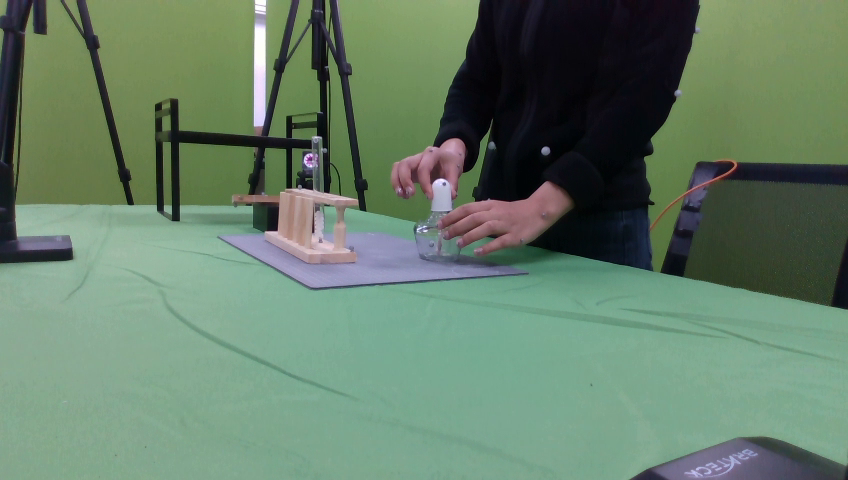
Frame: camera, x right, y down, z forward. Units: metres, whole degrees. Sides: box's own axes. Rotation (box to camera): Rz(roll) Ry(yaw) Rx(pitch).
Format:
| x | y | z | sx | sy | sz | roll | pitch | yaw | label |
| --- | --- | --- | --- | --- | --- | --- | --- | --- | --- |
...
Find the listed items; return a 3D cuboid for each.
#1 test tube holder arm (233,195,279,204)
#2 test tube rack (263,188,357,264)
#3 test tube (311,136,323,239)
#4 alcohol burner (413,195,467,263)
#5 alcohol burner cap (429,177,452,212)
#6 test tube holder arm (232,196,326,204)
| x | y | z | sx | sy | sz | roll | pitch | yaw | label |
| --- | --- | --- | --- | --- | --- | --- | --- | --- | --- |
| -0.307 | -0.075 | 1.117 | 0.088 | 0.015 | 0.010 | -1 | 1 | -31 | test tube holder arm |
| -0.175 | -0.027 | 0.890 | 0.067 | 0.085 | 0.241 | 0 | 8 | -28 | test tube rack |
| -0.155 | -0.076 | 0.878 | 0.017 | 0.150 | 0.017 | 0 | 7 | 0 | test tube |
| 0.023 | -0.028 | 0.864 | 0.078 | 0.119 | 0.078 | 2 | 7 | 0 | alcohol burner |
| 0.025 | -0.067 | 0.862 | 0.034 | 0.048 | 0.034 | 4 | 22 | -1 | alcohol burner cap |
| -0.271 | -0.076 | 1.145 | 0.179 | 0.015 | 0.013 | -1 | 1 | -32 | test tube holder arm |
